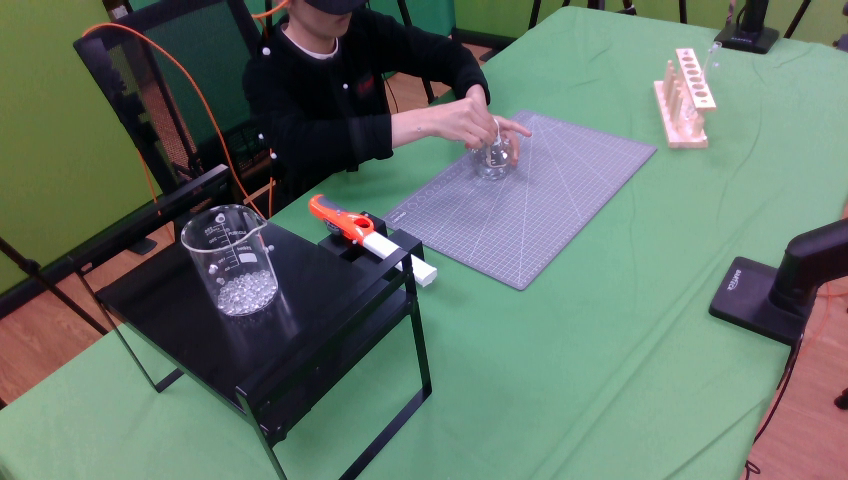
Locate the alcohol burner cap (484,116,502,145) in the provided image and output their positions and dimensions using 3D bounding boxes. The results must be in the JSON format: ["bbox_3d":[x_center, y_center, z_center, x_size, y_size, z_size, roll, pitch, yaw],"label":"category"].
[{"bbox_3d":[0.121,-0.193,1.058,0.034,0.048,0.033,-3,42,3],"label":"alcohol burner cap"}]

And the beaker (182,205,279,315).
[{"bbox_3d":[-0.197,0.024,0.641,0.084,0.101,0.073,-12,41,-6],"label":"beaker"}]

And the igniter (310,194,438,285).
[{"bbox_3d":[-0.086,-0.007,0.921,0.274,0.025,0.057,31,50,34],"label":"igniter"}]

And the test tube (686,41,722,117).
[{"bbox_3d":[0.510,-0.290,1.105,0.017,0.150,0.017,2,44,-1],"label":"test tube"}]

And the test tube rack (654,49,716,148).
[{"bbox_3d":[0.502,-0.280,1.176,0.066,0.085,0.241,1,41,11],"label":"test tube rack"}]

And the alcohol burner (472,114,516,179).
[{"bbox_3d":[0.124,-0.170,1.079,0.078,0.119,0.077,-5,41,5],"label":"alcohol burner"}]
